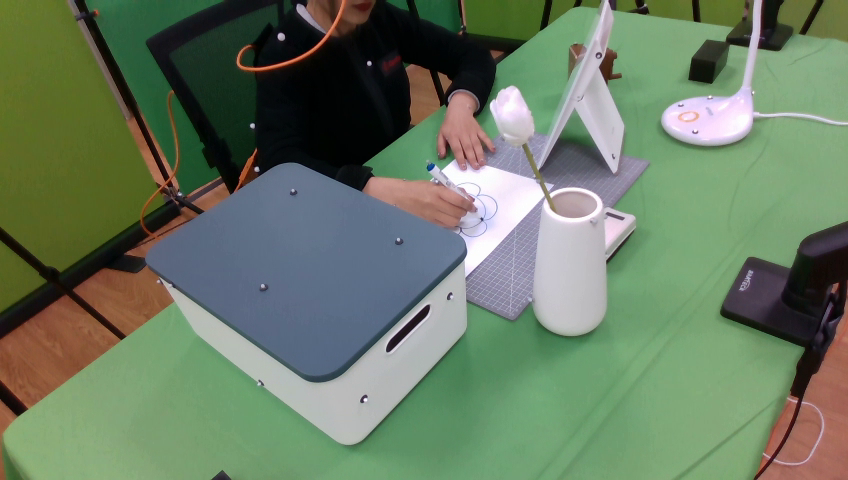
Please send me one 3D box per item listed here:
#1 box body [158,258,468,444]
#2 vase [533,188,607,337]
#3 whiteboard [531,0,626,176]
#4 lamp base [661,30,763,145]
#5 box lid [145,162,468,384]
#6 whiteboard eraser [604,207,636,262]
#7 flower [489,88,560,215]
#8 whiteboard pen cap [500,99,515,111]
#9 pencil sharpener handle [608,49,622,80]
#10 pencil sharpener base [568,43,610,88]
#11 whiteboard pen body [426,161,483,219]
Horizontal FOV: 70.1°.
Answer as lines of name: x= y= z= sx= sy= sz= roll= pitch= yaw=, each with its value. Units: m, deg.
box body: x=-0.147 y=0.072 z=0.816 sx=0.361 sy=0.161 sz=0.255 roll=24 pitch=50 yaw=33
vase: x=0.187 y=0.033 z=0.771 sx=0.098 sy=0.201 sz=0.097 roll=-6 pitch=41 yaw=6
whiteboard: x=0.320 y=-0.259 z=1.050 sx=0.144 sy=0.306 sz=0.217 roll=22 pitch=45 yaw=6
lamp base: x=0.535 y=-0.287 z=1.096 sx=0.179 sy=0.181 sz=0.159 roll=-10 pitch=40 yaw=-4
box lid: x=-0.157 y=0.014 z=0.769 sx=0.368 sy=0.015 sz=0.264 roll=25 pitch=51 yaw=33
whiteboard eraser: x=0.272 y=-0.003 z=0.919 sx=0.055 sy=0.042 sz=0.113 roll=27 pitch=51 yaw=32
flower: x=0.158 y=-0.028 z=0.720 sx=0.038 sy=0.364 sz=0.044 roll=-14 pitch=44 yaw=23
whiteboard pen cap: x=0.177 y=-0.287 z=1.290 sx=0.033 sy=0.018 sz=0.018 roll=-37 pitch=47 yaw=-26
pencil sharpener handle: x=0.394 y=-0.367 z=1.253 sx=0.030 sy=0.068 sz=0.036 roll=-9 pitch=32 yaw=1
pencil sharpener base: x=0.345 y=-0.352 z=1.263 sx=0.077 sy=0.107 sz=0.061 roll=-9 pitch=40 yaw=1
whiteboard pen body: x=0.053 y=-0.078 z=0.983 sx=0.017 sy=0.142 sz=0.017 roll=-34 pitch=31 yaw=24
